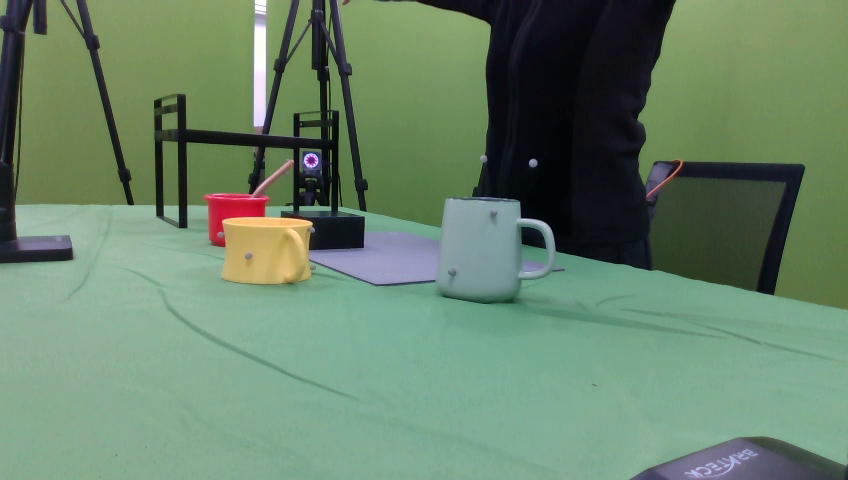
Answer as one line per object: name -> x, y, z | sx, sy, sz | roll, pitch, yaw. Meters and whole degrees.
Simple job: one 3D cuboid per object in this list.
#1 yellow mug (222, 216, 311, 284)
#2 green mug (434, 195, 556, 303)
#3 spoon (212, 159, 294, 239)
yellow mug -> -0.170, 0.011, 0.686 | 0.100, 0.064, 0.130 | -5, 11, -42
green mug -> 0.074, 0.009, 0.624 | 0.125, 0.105, 0.093 | 5, 7, 23
spoon -> -0.269, -0.069, 0.970 | 0.041, 0.022, 0.194 | 3, 50, 44
